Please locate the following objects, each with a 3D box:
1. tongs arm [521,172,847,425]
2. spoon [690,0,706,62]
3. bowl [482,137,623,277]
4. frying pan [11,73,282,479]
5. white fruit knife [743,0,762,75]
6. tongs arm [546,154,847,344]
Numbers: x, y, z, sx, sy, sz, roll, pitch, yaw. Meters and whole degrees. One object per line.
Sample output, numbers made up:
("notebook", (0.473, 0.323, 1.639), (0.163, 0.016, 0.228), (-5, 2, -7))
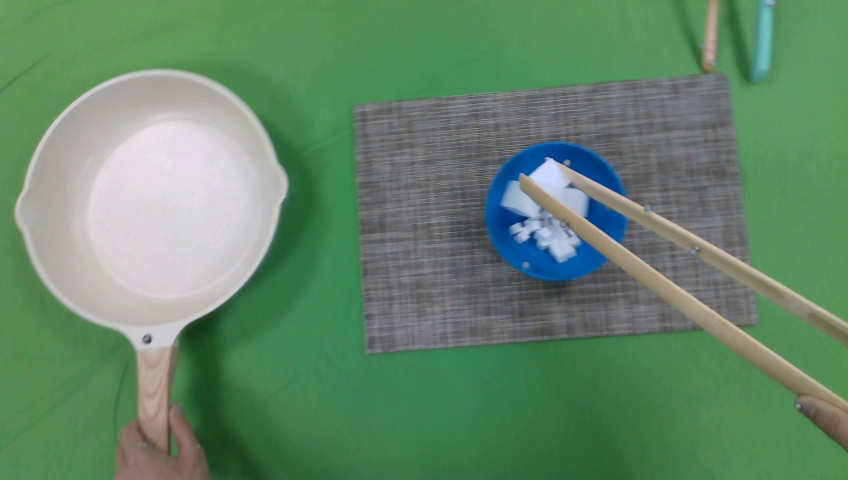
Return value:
("tongs arm", (0.214, 0.042, 0.481), (0.028, 0.028, 0.383), (-35, 51, -17))
("spoon", (0.321, -0.306, 0.695), (0.041, 0.021, 0.194), (8, 105, 25))
("bowl", (0.137, -0.031, 0.675), (0.151, 0.077, 0.151), (0, 84, 2))
("frying pan", (-0.299, 0.057, 0.675), (0.307, 0.103, 0.485), (-6, 75, 3))
("white fruit knife", (0.377, -0.298, 0.697), (0.016, 0.027, 0.208), (-4, 98, -2))
("tongs arm", (0.232, 0.028, 0.487), (0.050, 0.027, 0.381), (-41, 53, -17))
